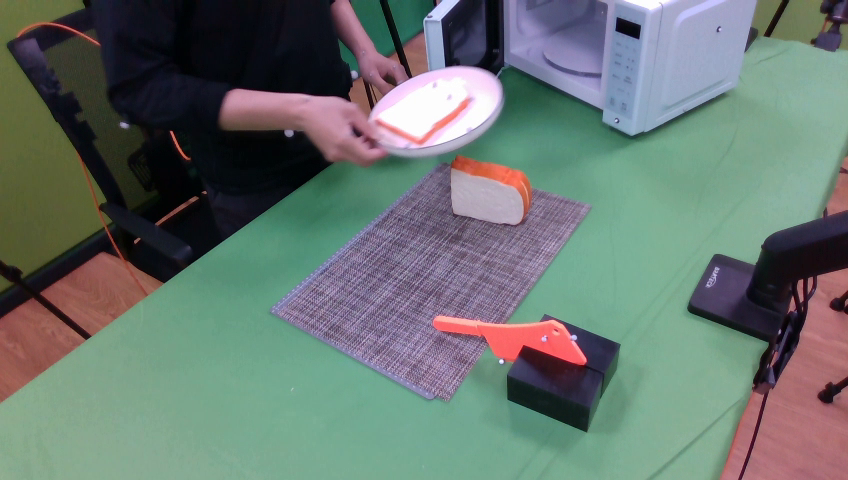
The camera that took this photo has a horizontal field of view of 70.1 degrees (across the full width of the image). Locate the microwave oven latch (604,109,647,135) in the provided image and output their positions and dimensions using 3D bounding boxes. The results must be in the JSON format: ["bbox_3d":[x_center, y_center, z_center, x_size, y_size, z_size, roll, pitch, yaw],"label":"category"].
[{"bbox_3d":[0.378,-0.225,1.139,0.030,0.029,0.078,-26,43,-20],"label":"microwave oven latch"}]

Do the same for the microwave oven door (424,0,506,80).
[{"bbox_3d":[0.093,-0.392,1.218,0.039,0.245,0.356,11,44,21],"label":"microwave oven door"}]

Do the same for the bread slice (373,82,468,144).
[{"bbox_3d":[0.000,-0.201,0.933,0.106,0.018,0.134,28,59,35],"label":"bread slice"}]

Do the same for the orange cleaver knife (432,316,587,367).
[{"bbox_3d":[0.101,0.127,0.761,0.210,0.077,0.012,-1,34,40],"label":"orange cleaver knife"}]

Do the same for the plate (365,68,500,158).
[{"bbox_3d":[0.014,-0.188,0.918,0.207,0.039,0.206,-10,44,11],"label":"plate"}]

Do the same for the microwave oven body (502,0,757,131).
[{"bbox_3d":[0.396,-0.448,1.248,0.327,0.261,0.437,-27,44,-21],"label":"microwave oven body"}]
